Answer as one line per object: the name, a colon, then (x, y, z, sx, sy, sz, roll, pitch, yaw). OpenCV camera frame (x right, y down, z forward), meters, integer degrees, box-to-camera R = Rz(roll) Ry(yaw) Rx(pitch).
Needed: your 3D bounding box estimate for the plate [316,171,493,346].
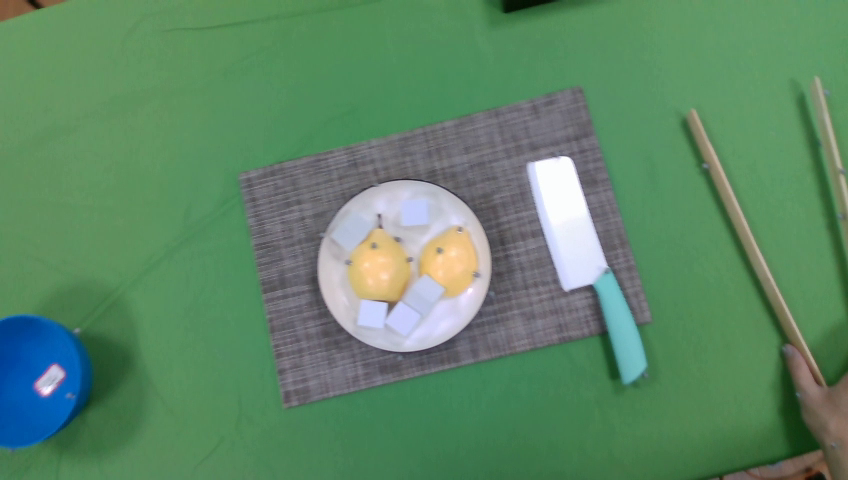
plate: (-0.022, 0.022, 0.724, 0.207, 0.039, 0.207, -1, 82, 4)

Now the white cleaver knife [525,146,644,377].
white cleaver knife: (0.188, 0.022, 0.722, 0.066, 0.021, 0.285, -19, 77, 11)

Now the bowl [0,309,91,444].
bowl: (-0.457, 0.158, 0.718, 0.151, 0.077, 0.151, -1, 81, 4)

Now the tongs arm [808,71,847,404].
tongs arm: (0.469, -0.006, 0.696, 0.051, 0.026, 0.383, -9, 82, 4)

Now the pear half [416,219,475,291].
pear half: (0.027, 0.017, 0.715, 0.070, 0.031, 0.088, 18, 89, 3)

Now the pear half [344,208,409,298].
pear half: (-0.057, 0.011, 0.714, 0.076, 0.056, 0.109, -3, 78, 0)

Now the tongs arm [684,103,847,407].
tongs arm: (0.391, 0.014, 0.703, 0.028, 0.028, 0.386, -21, 81, -1)
